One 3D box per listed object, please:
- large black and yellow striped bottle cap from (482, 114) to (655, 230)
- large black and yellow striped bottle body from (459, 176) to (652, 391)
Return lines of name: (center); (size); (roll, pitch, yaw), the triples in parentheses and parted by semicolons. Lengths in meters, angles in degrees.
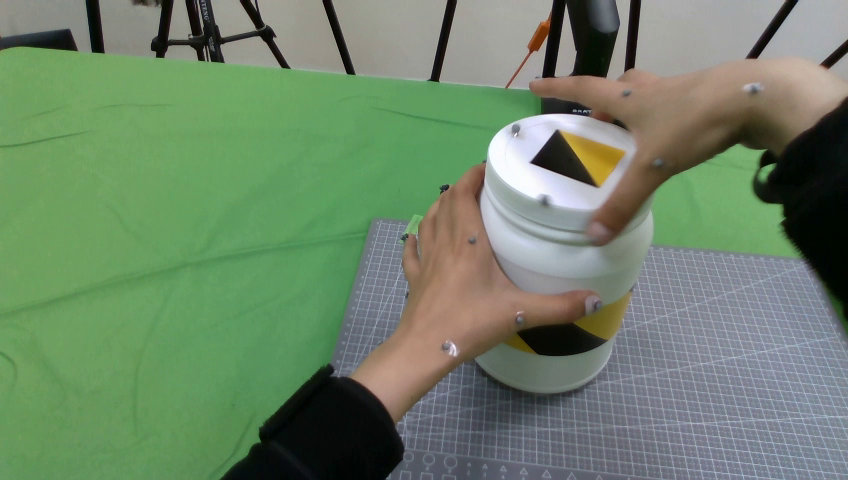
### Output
large black and yellow striped bottle cap: (0.097, -0.050, 0.412); (0.115, 0.019, 0.114); (2, 42, -2)
large black and yellow striped bottle body: (0.097, 0.014, 0.470); (0.131, 0.185, 0.129); (1, 43, -1)
